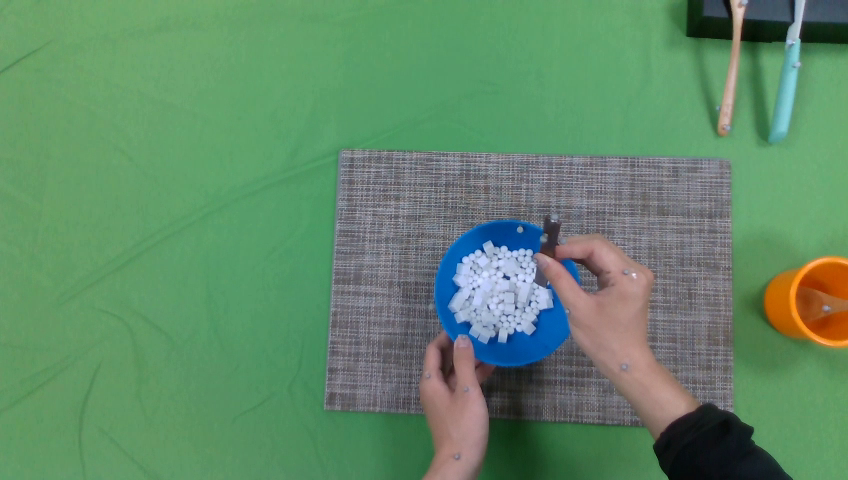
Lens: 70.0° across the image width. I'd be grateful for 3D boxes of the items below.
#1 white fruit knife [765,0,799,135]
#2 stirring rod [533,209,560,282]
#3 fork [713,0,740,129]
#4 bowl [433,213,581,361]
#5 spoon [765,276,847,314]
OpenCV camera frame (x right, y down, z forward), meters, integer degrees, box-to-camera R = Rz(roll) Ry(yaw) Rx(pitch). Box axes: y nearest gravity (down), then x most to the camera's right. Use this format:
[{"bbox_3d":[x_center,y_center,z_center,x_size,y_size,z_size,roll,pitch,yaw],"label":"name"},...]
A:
[{"bbox_3d":[0.400,-0.221,0.666,0.016,0.027,0.208,3,100,0],"label":"white fruit knife"},{"bbox_3d":[0.109,0.010,0.544,0.014,0.177,0.006,26,75,16],"label":"stirring rod"},{"bbox_3d":[0.338,-0.228,0.670,0.028,0.018,0.208,-1,103,0],"label":"fork"},{"bbox_3d":[0.086,0.052,0.649,0.151,0.077,0.151,0,83,3],"label":"bowl"},{"bbox_3d":[0.448,0.057,0.603,0.022,0.192,0.041,9,82,-41],"label":"spoon"}]
